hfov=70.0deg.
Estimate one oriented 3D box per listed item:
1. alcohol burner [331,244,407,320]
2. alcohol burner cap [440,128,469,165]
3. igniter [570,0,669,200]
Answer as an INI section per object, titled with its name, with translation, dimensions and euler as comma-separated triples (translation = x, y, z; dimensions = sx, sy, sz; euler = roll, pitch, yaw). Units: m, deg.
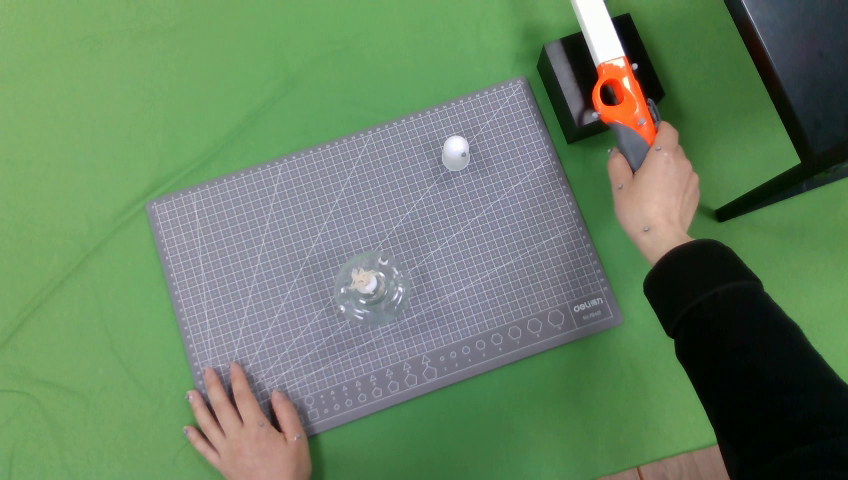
[alcohol burner]
translation = -0.056, 0.040, 0.599
dimensions = 0.078, 0.119, 0.077
euler = 0, 82, 2
[alcohol burner cap]
translation = 0.033, -0.104, 0.658
dimensions = 0.034, 0.048, 0.033
euler = 0, 81, 2
[igniter]
translation = 0.188, -0.173, 0.611
dimensions = 0.057, 0.025, 0.275
euler = -17, 83, -3
